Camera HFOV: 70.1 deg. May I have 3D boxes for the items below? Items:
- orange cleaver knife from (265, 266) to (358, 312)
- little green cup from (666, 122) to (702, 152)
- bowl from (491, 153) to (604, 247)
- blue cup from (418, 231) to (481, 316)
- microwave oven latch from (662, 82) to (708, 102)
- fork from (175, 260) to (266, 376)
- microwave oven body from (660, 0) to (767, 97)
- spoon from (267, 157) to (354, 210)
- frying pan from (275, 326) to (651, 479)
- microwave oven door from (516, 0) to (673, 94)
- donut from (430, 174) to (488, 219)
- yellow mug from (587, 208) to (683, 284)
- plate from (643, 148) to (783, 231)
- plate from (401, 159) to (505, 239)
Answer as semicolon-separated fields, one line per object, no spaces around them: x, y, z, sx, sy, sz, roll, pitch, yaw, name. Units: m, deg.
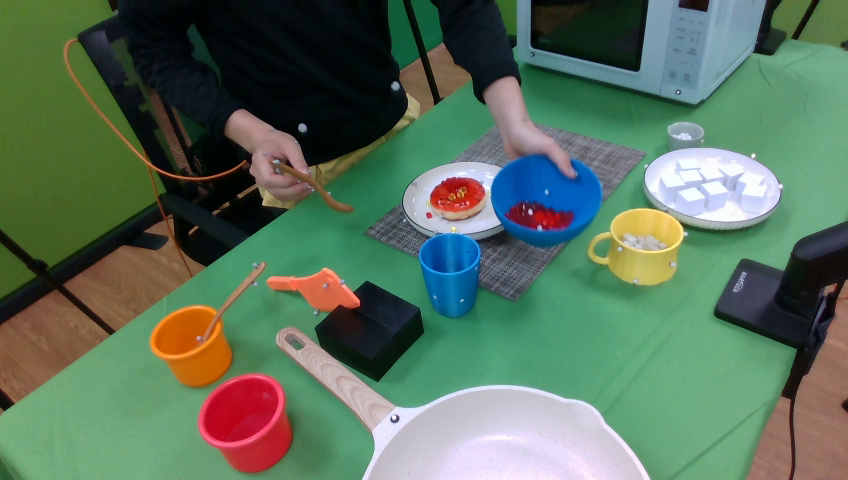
-0.164;0.073;0.864;0.210;0.077;0.012;-6;30;50;orange cleaver knife
0.471;-0.184;1.102;0.061;0.039;0.061;-5;41;5;little green cup
0.168;-0.043;0.841;0.151;0.077;0.150;-3;50;4;bowl
0.039;0.053;0.843;0.092;0.100;0.092;-4;43;4;blue cup
0.518;-0.298;1.203;0.078;0.029;0.030;28;53;35;microwave oven latch
-0.268;0.103;0.792;0.207;0.019;0.028;-51;40;16;fork
0.473;-0.517;1.313;0.438;0.261;0.327;26;52;34;microwave oven body
-0.161;-0.080;0.868;0.041;0.195;0.021;25;83;31;spoon
0.003;0.229;0.641;0.484;0.103;0.308;34;54;28;frying pan
0.344;-0.458;1.256;0.353;0.245;0.039;26;52;33;microwave oven door
0.058;-0.075;1.015;0.099;0.048;0.098;-6;38;5;donut
0.305;0.009;0.884;0.131;0.064;0.099;-4;41;5;yellow mug
0.464;-0.079;0.985;0.207;0.039;0.206;-4;40;4;plate
0.067;-0.065;1.019;0.209;0.038;0.208;-4;40;4;plate
